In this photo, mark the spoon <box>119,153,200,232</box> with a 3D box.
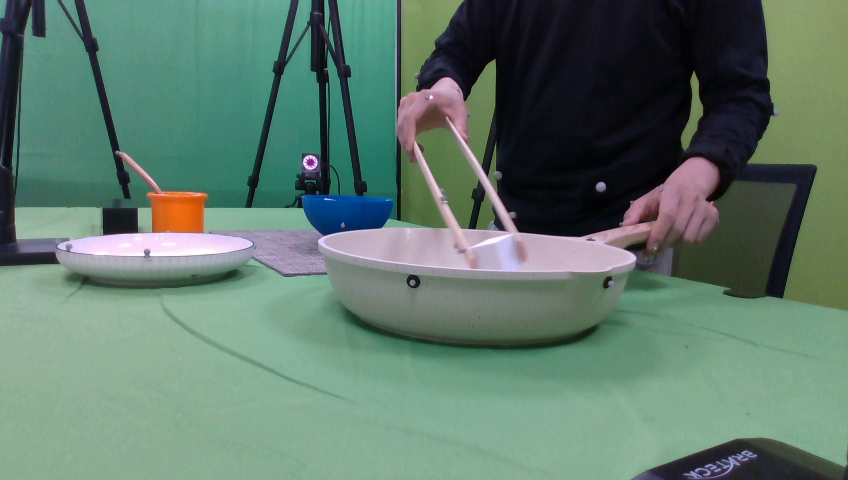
[{"bbox_3d":[-0.439,-0.077,1.001,0.021,0.193,0.042,-43,-7,21],"label":"spoon"}]

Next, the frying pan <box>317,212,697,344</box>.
[{"bbox_3d":[0.133,0.013,0.629,0.490,0.102,0.305,-12,14,-31],"label":"frying pan"}]

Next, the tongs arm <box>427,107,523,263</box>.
[{"bbox_3d":[0.051,-0.084,0.703,0.028,0.028,0.386,-23,32,3],"label":"tongs arm"}]

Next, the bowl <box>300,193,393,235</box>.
[{"bbox_3d":[-0.128,-0.034,0.995,0.151,0.077,0.151,3,7,0],"label":"bowl"}]

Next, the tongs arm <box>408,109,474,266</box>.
[{"bbox_3d":[0.024,-0.075,0.704,0.051,0.026,0.383,-21,32,-1],"label":"tongs arm"}]

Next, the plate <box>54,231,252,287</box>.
[{"bbox_3d":[-0.309,0.020,0.705,0.208,0.039,0.207,3,7,0],"label":"plate"}]
